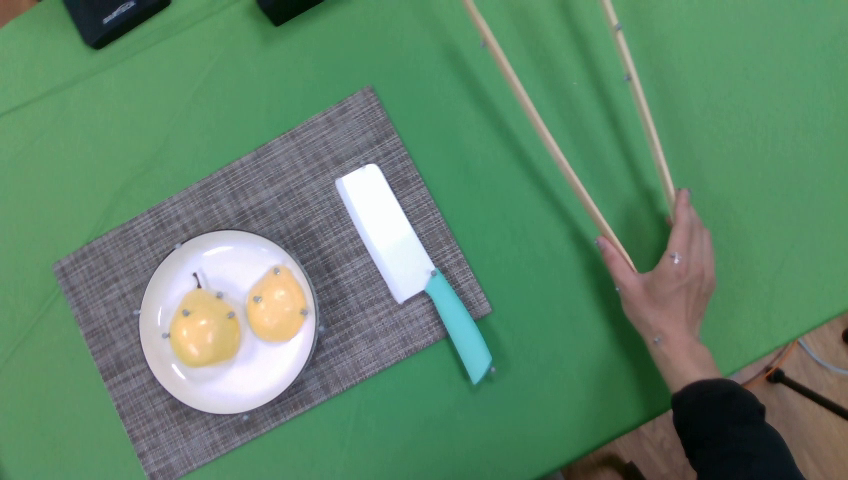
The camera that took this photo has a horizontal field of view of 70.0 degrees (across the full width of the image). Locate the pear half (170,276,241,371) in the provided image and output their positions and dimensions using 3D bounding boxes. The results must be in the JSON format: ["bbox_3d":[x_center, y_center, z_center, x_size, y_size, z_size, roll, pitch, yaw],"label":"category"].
[{"bbox_3d":[-0.253,0.092,0.683,0.076,0.056,0.109,-18,80,1],"label":"pear half"}]

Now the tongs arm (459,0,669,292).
[{"bbox_3d":[0.138,-0.103,0.632,0.028,0.028,0.387,-33,91,-3],"label":"tongs arm"}]

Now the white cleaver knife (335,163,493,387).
[{"bbox_3d":[-0.013,0.040,0.688,0.066,0.021,0.285,-33,79,12],"label":"white cleaver knife"}]

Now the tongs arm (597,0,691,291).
[{"bbox_3d":[0.206,-0.135,0.630,0.051,0.026,0.384,-21,92,0],"label":"tongs arm"}]

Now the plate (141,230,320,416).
[{"bbox_3d":[-0.216,0.093,0.693,0.207,0.039,0.207,0,86,6],"label":"plate"}]

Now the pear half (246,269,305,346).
[{"bbox_3d":[-0.171,0.077,0.684,0.070,0.031,0.088,4,92,3],"label":"pear half"}]
